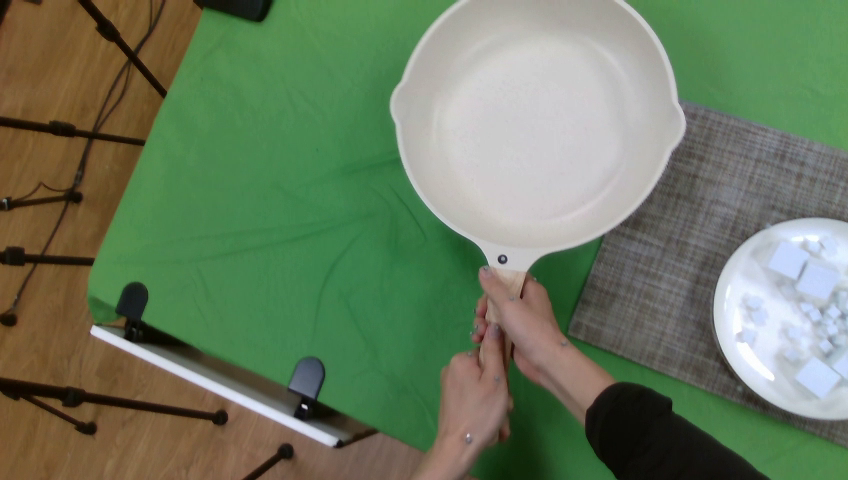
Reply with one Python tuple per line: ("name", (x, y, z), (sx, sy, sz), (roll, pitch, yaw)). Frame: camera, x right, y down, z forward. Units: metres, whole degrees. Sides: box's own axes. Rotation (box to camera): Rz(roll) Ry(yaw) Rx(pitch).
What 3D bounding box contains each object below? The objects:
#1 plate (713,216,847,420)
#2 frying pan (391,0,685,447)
("plate", (0.410, 0.079, 0.631), (0.207, 0.039, 0.207), (-2, 80, 12))
("frying pan", (0.098, -0.028, 0.649), (0.306, 0.103, 0.486), (9, 81, 14))
